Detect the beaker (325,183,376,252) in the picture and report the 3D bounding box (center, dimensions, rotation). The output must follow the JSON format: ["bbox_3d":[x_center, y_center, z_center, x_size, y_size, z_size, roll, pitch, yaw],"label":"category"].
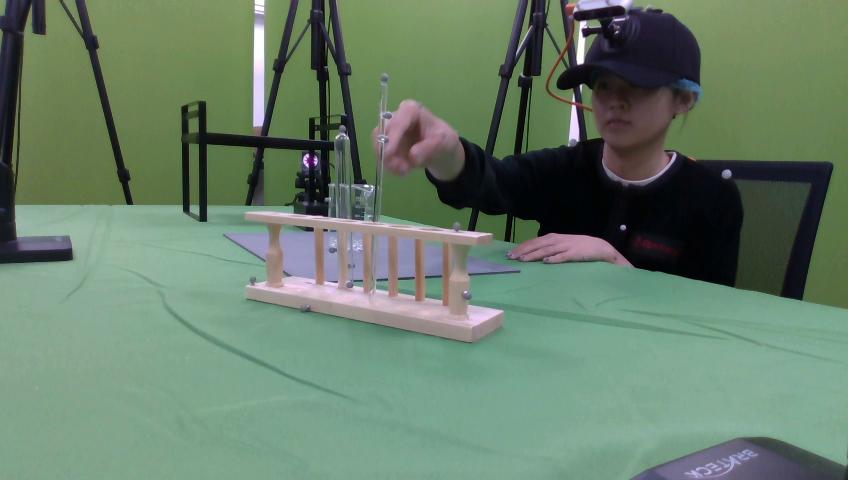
[{"bbox_3d":[-0.110,-0.034,0.920,0.083,0.100,0.074,10,11,43],"label":"beaker"}]

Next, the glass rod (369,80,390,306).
[{"bbox_3d":[-0.039,-0.039,0.530,0.008,0.199,0.008,4,2,0],"label":"glass rod"}]

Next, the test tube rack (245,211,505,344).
[{"bbox_3d":[-0.049,0.024,0.547,0.241,0.085,0.067,7,8,29],"label":"test tube rack"}]

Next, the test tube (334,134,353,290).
[{"bbox_3d":[-0.077,-0.026,0.579,0.017,0.150,0.017,0,7,0],"label":"test tube"}]
